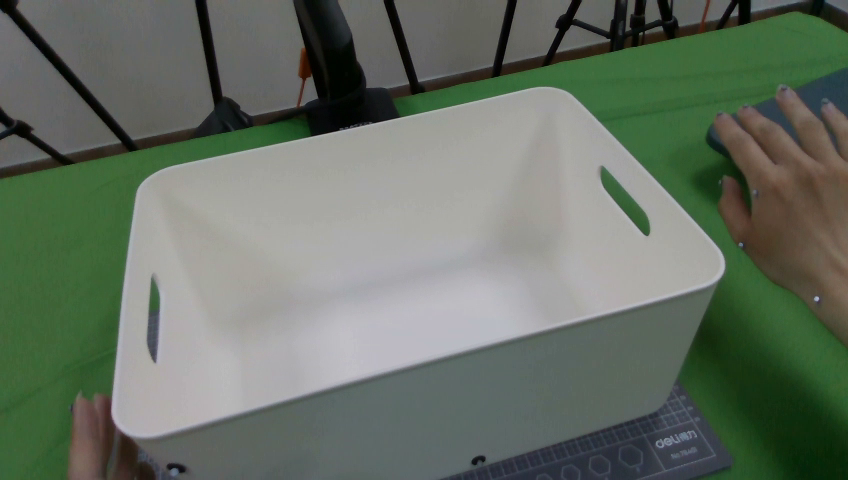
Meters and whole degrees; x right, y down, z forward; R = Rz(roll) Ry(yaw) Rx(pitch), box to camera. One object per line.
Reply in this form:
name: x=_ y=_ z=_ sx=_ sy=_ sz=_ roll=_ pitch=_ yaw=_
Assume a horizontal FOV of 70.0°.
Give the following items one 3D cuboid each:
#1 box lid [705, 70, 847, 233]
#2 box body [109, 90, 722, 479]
box lid: x=0.488 y=-0.057 z=0.570 sx=0.264 sy=0.015 sz=0.367 roll=-22 pitch=45 yaw=-17
box body: x=-0.013 y=0.043 z=0.470 sx=0.364 sy=0.162 sz=0.251 roll=-14 pitch=43 yaw=-8
